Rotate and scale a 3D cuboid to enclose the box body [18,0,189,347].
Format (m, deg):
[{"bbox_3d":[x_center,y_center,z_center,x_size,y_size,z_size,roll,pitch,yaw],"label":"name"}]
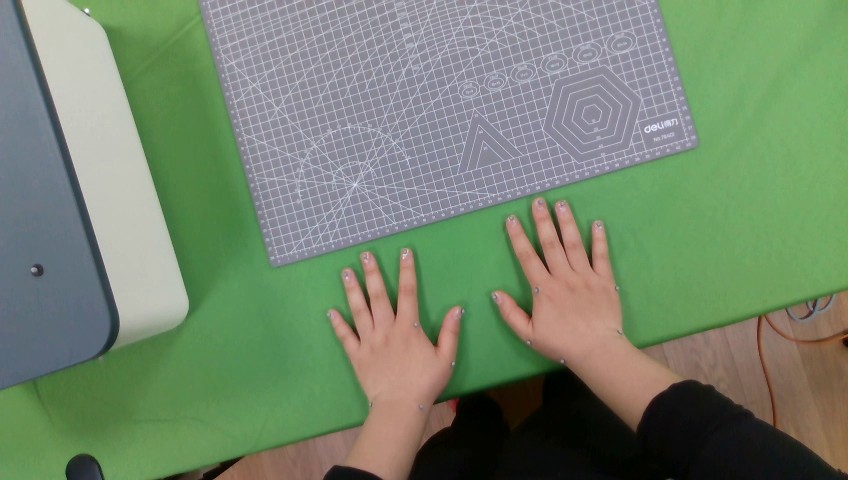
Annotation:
[{"bbox_3d":[-0.415,-0.045,0.586,0.254,0.160,0.363,-19,88,5],"label":"box body"}]

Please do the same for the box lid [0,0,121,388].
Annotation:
[{"bbox_3d":[-0.424,-0.048,0.513,0.263,0.015,0.371,-19,89,6],"label":"box lid"}]
